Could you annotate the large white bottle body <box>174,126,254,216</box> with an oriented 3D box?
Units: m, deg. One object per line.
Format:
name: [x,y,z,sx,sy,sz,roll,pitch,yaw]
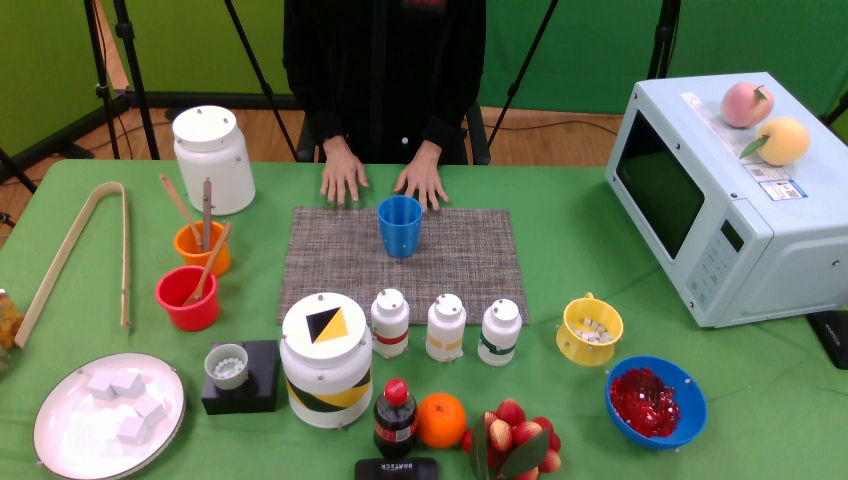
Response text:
large white bottle body: [-0.415,-0.154,1.199,0.131,0.185,0.130,2,46,-2]

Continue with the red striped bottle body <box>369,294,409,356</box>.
red striped bottle body: [-0.059,0.134,0.997,0.063,0.120,0.062,5,47,-5]

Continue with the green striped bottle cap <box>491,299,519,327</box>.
green striped bottle cap: [0.128,0.115,0.958,0.044,0.020,0.044,1,47,-1]

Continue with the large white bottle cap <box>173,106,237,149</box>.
large white bottle cap: [-0.411,-0.212,1.138,0.115,0.018,0.114,2,47,-2]

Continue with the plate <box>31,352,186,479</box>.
plate: [-0.459,0.262,0.898,0.209,0.038,0.208,2,46,-2]

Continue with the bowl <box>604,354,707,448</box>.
bowl: [0.346,0.261,0.937,0.151,0.077,0.150,2,46,-2]

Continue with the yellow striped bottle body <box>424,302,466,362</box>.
yellow striped bottle body: [0.035,0.143,0.995,0.063,0.121,0.062,3,46,-3]

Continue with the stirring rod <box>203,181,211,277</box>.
stirring rod: [-0.396,-0.021,1.107,0.014,0.006,0.176,-1,89,-2]

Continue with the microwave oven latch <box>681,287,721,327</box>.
microwave oven latch: [0.494,0.119,1.087,0.030,0.029,0.078,-6,46,-9]

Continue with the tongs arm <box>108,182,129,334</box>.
tongs arm: [-0.571,0.019,1.123,0.051,0.026,0.382,-11,47,-11]

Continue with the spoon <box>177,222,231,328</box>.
spoon: [-0.369,0.059,1.027,0.041,0.022,0.193,25,94,19]

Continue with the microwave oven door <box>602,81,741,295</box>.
microwave oven door: [0.456,-0.107,1.162,0.039,0.245,0.353,-7,47,-11]

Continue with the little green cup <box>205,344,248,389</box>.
little green cup: [-0.293,0.191,0.909,0.061,0.039,0.061,1,47,-1]

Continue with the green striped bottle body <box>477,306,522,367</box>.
green striped bottle body: [0.124,0.151,0.995,0.063,0.120,0.063,2,46,-2]

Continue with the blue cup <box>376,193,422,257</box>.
blue cup: [-0.047,-0.021,1.155,0.093,0.101,0.092,1,47,-1]

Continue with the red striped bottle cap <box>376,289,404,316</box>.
red striped bottle cap: [-0.055,0.098,0.958,0.044,0.018,0.044,0,48,1]

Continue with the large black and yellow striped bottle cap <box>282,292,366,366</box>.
large black and yellow striped bottle cap: [-0.138,0.121,0.841,0.115,0.019,0.114,3,47,-3]

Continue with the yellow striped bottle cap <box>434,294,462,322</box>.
yellow striped bottle cap: [0.038,0.107,0.958,0.044,0.019,0.044,2,45,-2]

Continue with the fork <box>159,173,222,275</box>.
fork: [-0.427,-0.029,1.103,0.028,0.018,0.207,-31,99,-30]

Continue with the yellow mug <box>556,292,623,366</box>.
yellow mug: [0.285,0.145,1.051,0.100,0.064,0.130,7,46,3]

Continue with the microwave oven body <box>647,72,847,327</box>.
microwave oven body: [0.607,-0.089,1.164,0.326,0.261,0.438,-7,46,-10]

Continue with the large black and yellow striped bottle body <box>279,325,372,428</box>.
large black and yellow striped bottle body: [-0.143,0.181,0.900,0.131,0.185,0.130,2,46,-2]

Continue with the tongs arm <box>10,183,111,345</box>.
tongs arm: [-0.658,0.027,1.109,0.028,0.028,0.385,-2,45,2]
